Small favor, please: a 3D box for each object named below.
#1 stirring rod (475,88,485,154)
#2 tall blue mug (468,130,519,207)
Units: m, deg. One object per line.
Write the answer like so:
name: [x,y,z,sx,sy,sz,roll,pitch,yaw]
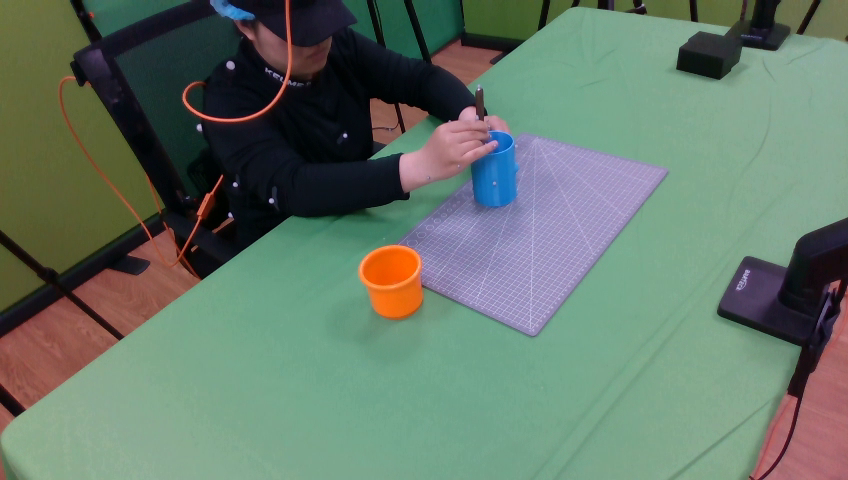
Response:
stirring rod: [0.091,-0.171,0.981,0.014,0.177,0.005,-34,54,-21]
tall blue mug: [0.114,-0.131,1.045,0.078,0.108,0.106,-20,41,-11]
